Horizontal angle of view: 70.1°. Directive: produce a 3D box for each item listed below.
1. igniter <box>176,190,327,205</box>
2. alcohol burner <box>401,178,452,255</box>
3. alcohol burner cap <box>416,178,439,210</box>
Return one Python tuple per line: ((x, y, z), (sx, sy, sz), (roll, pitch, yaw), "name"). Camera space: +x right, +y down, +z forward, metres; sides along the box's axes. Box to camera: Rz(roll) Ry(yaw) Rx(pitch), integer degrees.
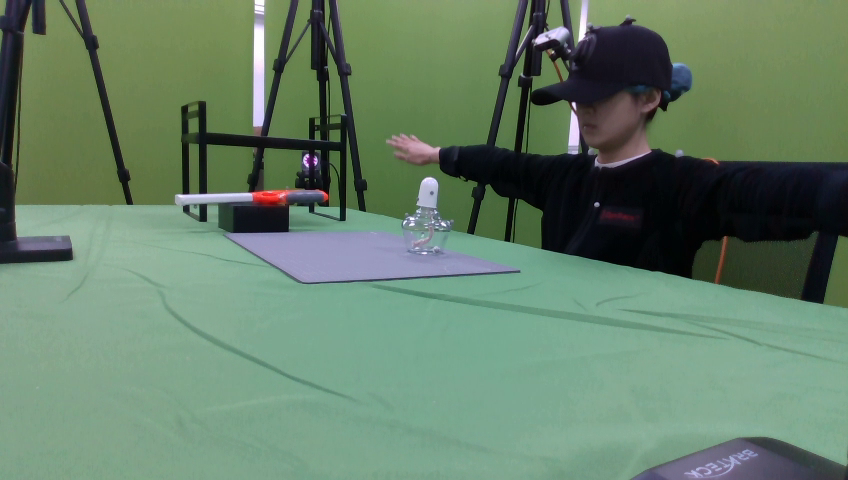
((-0.316, -0.080, 1.137), (0.278, 0.025, 0.057), (-4, 13, -33), "igniter")
((0.005, -0.036, 0.923), (0.078, 0.119, 0.078), (5, 7, 0), "alcohol burner")
((0.007, -0.071, 0.917), (0.034, 0.048, 0.034), (6, 6, 0), "alcohol burner cap")
